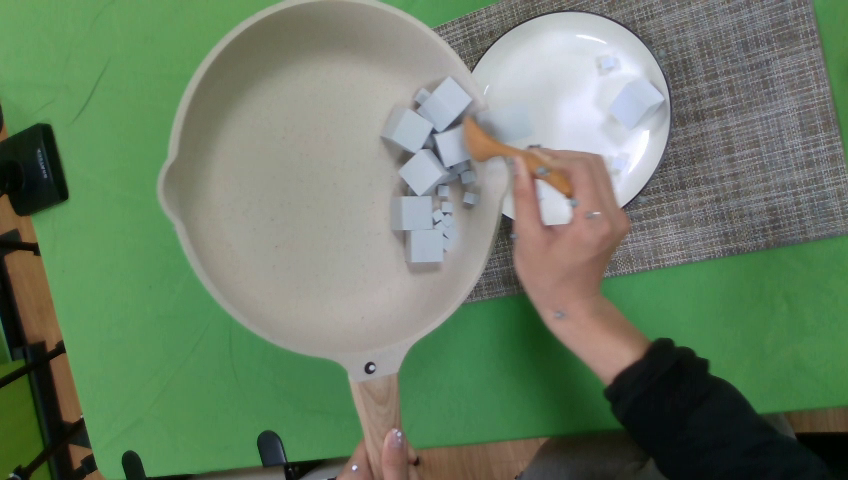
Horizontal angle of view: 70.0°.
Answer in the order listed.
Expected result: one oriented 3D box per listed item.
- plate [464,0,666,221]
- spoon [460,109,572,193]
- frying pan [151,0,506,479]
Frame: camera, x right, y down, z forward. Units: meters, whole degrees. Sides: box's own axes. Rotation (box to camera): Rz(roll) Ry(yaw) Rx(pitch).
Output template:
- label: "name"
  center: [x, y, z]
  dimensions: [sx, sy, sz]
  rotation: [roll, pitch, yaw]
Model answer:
- label: "plate"
  center: [0.129, -0.123, 0.597]
  dimensions: [0.206, 0.039, 0.208]
  rotation: [3, 99, 23]
- label: "spoon"
  center: [0.064, -0.069, 0.461]
  dimensions: [0.022, 0.192, 0.042]
  rotation: [-19, 115, -13]
- label: "frying pan"
  center: [-0.055, 0.050, 0.513]
  dimensions: [0.102, 0.308, 0.487]
  rotation: [-10, 87, 60]
